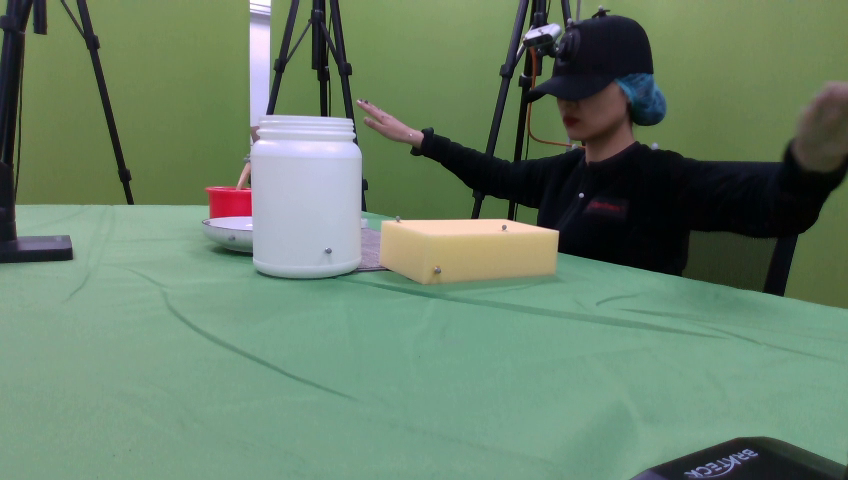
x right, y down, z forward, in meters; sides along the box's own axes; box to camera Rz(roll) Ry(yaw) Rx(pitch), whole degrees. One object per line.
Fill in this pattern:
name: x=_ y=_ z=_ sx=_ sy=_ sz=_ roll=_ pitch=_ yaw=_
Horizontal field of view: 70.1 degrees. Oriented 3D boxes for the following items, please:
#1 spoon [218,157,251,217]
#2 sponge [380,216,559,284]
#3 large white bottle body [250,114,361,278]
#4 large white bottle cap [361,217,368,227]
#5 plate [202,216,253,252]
spoon: x=-0.332 y=-0.091 z=1.091 sx=0.041 sy=0.021 sz=0.193 roll=2 pitch=52 yaw=6
sponge: x=0.059 y=0.008 z=0.786 sx=0.208 sy=0.061 sz=0.117 roll=-3 pitch=11 yaw=-32
large white bottle body: x=-0.140 y=-0.057 z=0.727 sx=0.131 sy=0.184 sz=0.130 roll=1 pitch=10 yaw=0
large white bottle cap: x=-0.171 y=-0.038 z=1.234 sx=0.115 sy=0.018 sz=0.115 roll=2 pitch=5 yaw=0
plate: x=-0.223 y=-0.010 z=0.909 sx=0.209 sy=0.038 sz=0.209 roll=2 pitch=7 yaw=0
